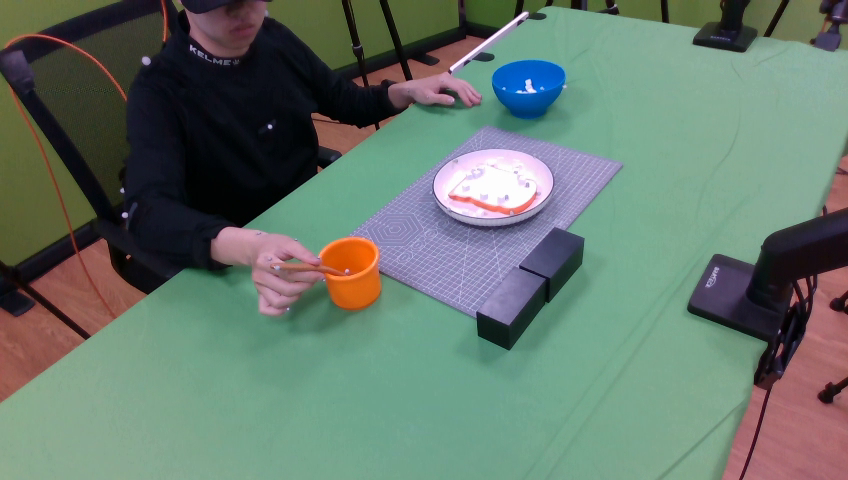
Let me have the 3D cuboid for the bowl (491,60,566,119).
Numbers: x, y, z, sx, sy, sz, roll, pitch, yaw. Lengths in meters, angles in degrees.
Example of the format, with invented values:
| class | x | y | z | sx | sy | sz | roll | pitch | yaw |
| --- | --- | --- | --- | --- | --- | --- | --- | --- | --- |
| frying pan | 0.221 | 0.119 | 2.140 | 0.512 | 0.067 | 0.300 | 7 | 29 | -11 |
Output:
| class | x | y | z | sx | sy | sz | roll | pitch | yaw |
| --- | --- | --- | --- | --- | --- | --- | --- | --- | --- |
| bowl | 0.215 | -0.302 | 1.248 | 0.151 | 0.077 | 0.150 | -4 | 40 | 4 |

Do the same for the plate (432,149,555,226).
| class | x | y | z | sx | sy | sz | roll | pitch | yaw |
| --- | --- | --- | --- | --- | --- | --- | --- | --- | --- |
| plate | 0.120 | -0.087 | 1.037 | 0.209 | 0.038 | 0.208 | -4 | 40 | 4 |

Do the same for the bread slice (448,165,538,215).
| class | x | y | z | sx | sy | sz | roll | pitch | yaw |
| --- | --- | --- | --- | --- | --- | --- | --- | --- | --- |
| bread slice | 0.126 | -0.085 | 1.037 | 0.133 | 0.018 | 0.107 | 17 | 45 | 27 |

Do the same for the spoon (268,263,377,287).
| class | x | y | z | sx | sy | sz | roll | pitch | yaw |
| --- | --- | --- | --- | --- | --- | --- | --- | --- | --- |
| spoon | -0.137 | 0.045 | 0.840 | 0.041 | 0.195 | 0.021 | 31 | 98 | 37 |
